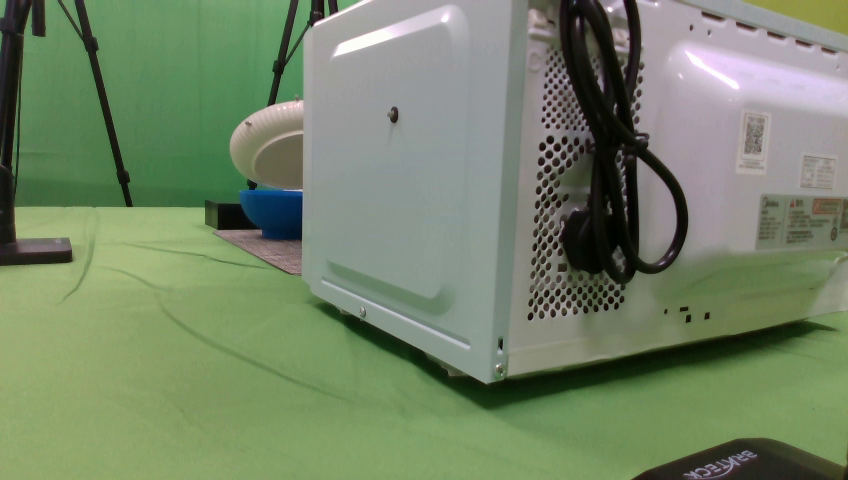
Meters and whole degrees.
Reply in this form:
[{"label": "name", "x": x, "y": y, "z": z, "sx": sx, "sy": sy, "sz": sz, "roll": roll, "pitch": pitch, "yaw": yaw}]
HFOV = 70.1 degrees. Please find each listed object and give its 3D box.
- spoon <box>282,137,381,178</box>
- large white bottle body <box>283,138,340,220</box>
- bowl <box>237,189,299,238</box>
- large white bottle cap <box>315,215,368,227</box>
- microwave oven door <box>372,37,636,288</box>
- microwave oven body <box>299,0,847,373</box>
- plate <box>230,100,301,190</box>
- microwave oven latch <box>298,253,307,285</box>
[{"label": "spoon", "x": -0.150, "y": -0.144, "z": 1.016, "sx": 0.194, "sy": 0.041, "sz": 0.021, "roll": -24, "pitch": -16, "yaw": -30}, {"label": "large white bottle body", "x": -0.265, "y": -0.143, "z": 1.424, "sx": 0.131, "sy": 0.184, "sz": 0.130, "roll": 2, "pitch": 7, "yaw": 0}, {"label": "bowl", "x": -0.245, "y": -0.046, "z": 1.053, "sx": 0.151, "sy": 0.077, "sz": 0.151, "roll": 3, "pitch": 8, "yaw": 0}, {"label": "large white bottle cap", "x": -0.177, "y": -0.041, "z": 1.309, "sx": 0.115, "sy": 0.018, "sz": 0.115, "roll": 2, "pitch": 6, "yaw": 0}, {"label": "microwave oven door", "x": 0.110, "y": -0.080, "z": 0.686, "sx": 0.358, "sy": 0.243, "sz": 0.039, "roll": -2, "pitch": 9, "yaw": -33}, {"label": "microwave oven body", "x": 0.151, "y": -0.055, "z": 0.542, "sx": 0.444, "sy": 0.260, "sz": 0.324, "roll": -2, "pitch": 7, "yaw": -33}, {"label": "plate", "x": -0.189, "y": -0.134, "z": 0.932, "sx": 0.209, "sy": 0.038, "sz": 0.209, "roll": -14, "pitch": -25, "yaw": -6}, {"label": "microwave oven latch", "x": -0.081, "y": 0.027, "z": 0.582, "sx": 0.079, "sy": 0.029, "sz": 0.030, "roll": -1, "pitch": 7, "yaw": -32}]
